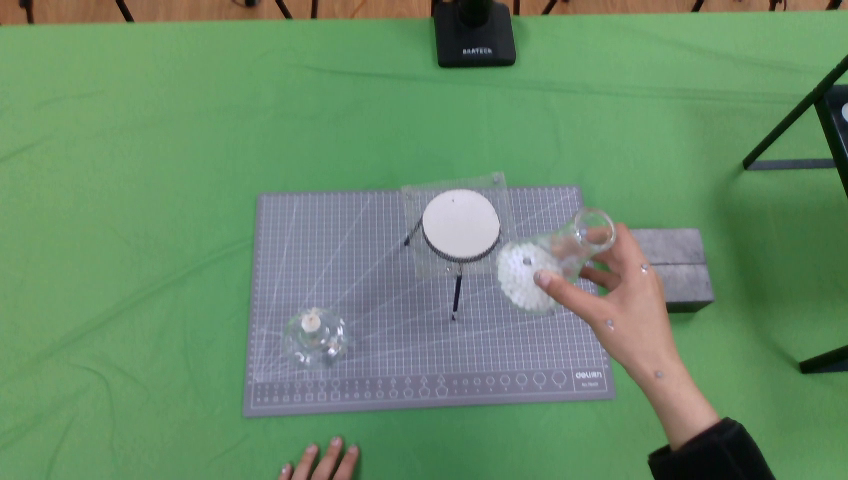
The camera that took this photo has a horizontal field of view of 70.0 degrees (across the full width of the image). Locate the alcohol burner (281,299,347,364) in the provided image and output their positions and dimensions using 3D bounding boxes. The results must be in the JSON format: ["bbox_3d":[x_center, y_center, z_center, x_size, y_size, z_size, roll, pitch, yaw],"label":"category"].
[{"bbox_3d":[-0.128,0.100,0.699,0.078,0.120,0.077,2,66,-4],"label":"alcohol burner"}]

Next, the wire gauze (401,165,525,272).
[{"bbox_3d":[0.042,-0.025,0.677,0.125,0.011,0.120,-6,69,-7],"label":"wire gauze"}]

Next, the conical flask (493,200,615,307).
[{"bbox_3d":[0.114,0.007,0.516,0.075,0.122,0.075,7,67,-16],"label":"conical flask"}]

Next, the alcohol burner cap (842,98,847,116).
[{"bbox_3d":[0.508,-0.163,0.690,0.034,0.048,0.033,1,68,-2],"label":"alcohol burner cap"}]

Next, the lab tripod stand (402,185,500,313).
[{"bbox_3d":[0.041,-0.001,0.740,0.148,0.132,0.147,1,66,-3],"label":"lab tripod stand"}]
